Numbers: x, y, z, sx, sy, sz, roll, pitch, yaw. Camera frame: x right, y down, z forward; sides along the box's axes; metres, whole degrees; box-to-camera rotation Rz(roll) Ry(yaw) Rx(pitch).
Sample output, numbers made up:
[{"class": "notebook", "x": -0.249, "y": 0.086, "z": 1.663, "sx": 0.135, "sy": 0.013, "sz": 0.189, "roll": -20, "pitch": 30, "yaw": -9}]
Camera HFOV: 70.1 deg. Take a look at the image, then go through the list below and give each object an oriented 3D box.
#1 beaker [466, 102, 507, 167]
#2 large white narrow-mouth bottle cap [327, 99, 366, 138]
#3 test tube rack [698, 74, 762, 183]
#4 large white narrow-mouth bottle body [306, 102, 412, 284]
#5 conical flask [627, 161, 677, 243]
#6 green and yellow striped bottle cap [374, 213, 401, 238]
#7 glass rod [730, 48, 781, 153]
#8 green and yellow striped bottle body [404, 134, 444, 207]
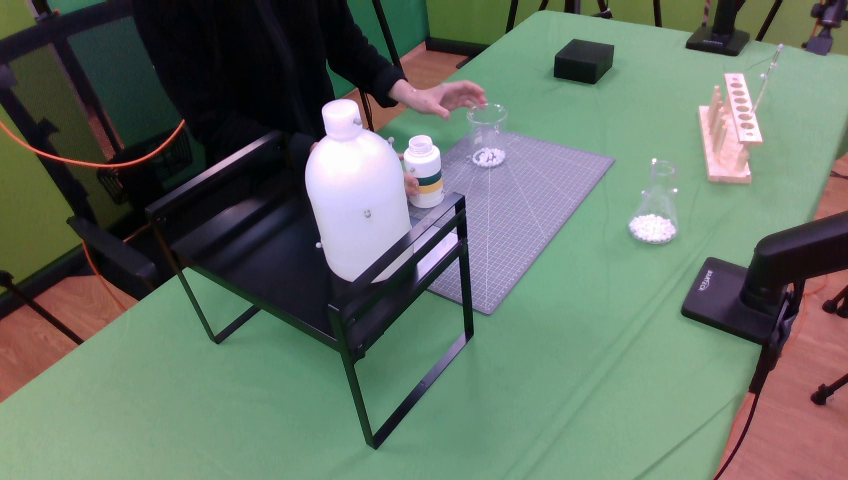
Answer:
[{"class": "beaker", "x": 0.121, "y": -0.195, "z": 1.124, "sx": 0.084, "sy": 0.101, "sz": 0.073, "roll": -34, "pitch": 48, "yaw": -28}, {"class": "large white narrow-mouth bottle cap", "x": -0.075, "y": -0.117, "z": 0.582, "sx": 0.038, "sy": 0.024, "sz": 0.037, "roll": -3, "pitch": 40, "yaw": 3}, {"class": "test tube rack", "x": 0.547, "y": -0.208, "z": 1.095, "sx": 0.066, "sy": 0.085, "sz": 0.242, "roll": 5, "pitch": 42, "yaw": 15}, {"class": "large white narrow-mouth bottle body", "x": -0.070, "y": -0.051, "z": 0.637, "sx": 0.102, "sy": 0.195, "sz": 0.101, "roll": -3, "pitch": 40, "yaw": 3}, {"class": "conical flask", "x": 0.355, "y": -0.061, "z": 0.921, "sx": 0.075, "sy": 0.122, "sz": 0.075, "roll": -4, "pitch": 41, "yaw": 4}, {"class": "green and yellow striped bottle cap", "x": -0.061, "y": -0.025, "z": 1.016, "sx": 0.045, "sy": 0.020, "sz": 0.045, "roll": -3, "pitch": 43, "yaw": 3}, {"class": "glass rod", "x": 0.554, "y": -0.228, "z": 1.015, "sx": 0.008, "sy": 0.200, "sz": 0.008, "roll": 1, "pitch": 44, "yaw": -1}, {"class": "green and yellow striped bottle body", "x": 0.000, "y": -0.121, "z": 1.038, "sx": 0.063, "sy": 0.120, "sz": 0.063, "roll": -4, "pitch": 41, "yaw": 4}]
